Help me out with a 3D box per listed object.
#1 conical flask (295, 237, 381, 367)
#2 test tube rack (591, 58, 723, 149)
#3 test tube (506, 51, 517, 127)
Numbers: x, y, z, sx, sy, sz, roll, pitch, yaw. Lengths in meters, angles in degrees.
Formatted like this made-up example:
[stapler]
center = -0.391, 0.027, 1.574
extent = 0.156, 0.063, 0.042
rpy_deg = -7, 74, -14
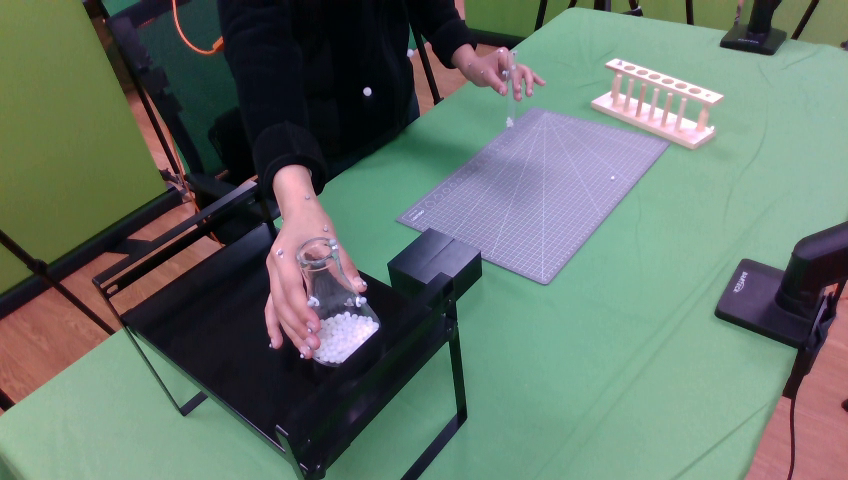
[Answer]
[conical flask]
center = -0.087, 0.054, 0.561
extent = 0.075, 0.122, 0.075
rpy_deg = -6, 41, 5
[test tube rack]
center = 0.442, -0.269, 1.171
extent = 0.067, 0.085, 0.240
rpy_deg = -30, 46, -24
[test tube]
center = 0.149, -0.254, 1.032
extent = 0.017, 0.151, 0.017
rpy_deg = -3, 50, 4
